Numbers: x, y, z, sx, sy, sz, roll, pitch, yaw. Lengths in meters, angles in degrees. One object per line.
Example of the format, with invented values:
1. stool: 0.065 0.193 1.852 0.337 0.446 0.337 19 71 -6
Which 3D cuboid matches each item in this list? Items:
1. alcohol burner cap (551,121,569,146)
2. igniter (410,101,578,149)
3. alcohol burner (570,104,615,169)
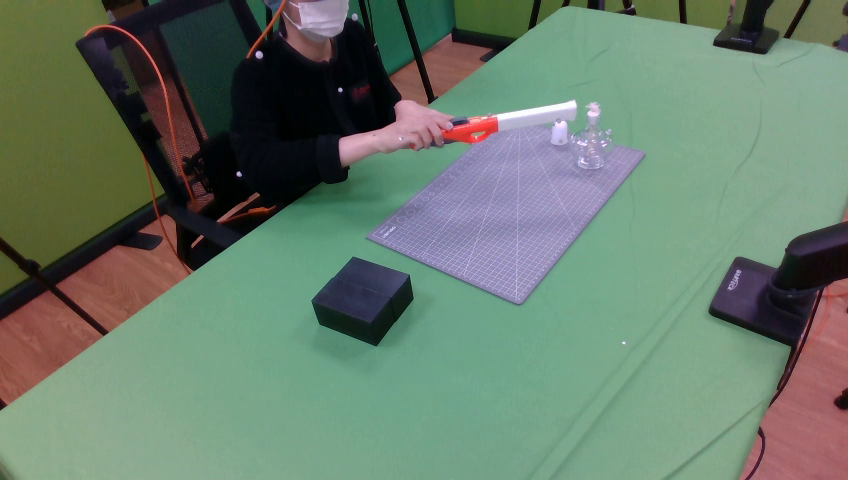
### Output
1. alcohol burner cap: 0.261 -0.207 1.156 0.034 0.048 0.033 -5 41 5
2. igniter: 0.112 -0.188 0.991 0.276 0.057 0.025 -10 52 3
3. alcohol burner: 0.299 -0.187 1.071 0.078 0.119 0.077 -6 41 6
